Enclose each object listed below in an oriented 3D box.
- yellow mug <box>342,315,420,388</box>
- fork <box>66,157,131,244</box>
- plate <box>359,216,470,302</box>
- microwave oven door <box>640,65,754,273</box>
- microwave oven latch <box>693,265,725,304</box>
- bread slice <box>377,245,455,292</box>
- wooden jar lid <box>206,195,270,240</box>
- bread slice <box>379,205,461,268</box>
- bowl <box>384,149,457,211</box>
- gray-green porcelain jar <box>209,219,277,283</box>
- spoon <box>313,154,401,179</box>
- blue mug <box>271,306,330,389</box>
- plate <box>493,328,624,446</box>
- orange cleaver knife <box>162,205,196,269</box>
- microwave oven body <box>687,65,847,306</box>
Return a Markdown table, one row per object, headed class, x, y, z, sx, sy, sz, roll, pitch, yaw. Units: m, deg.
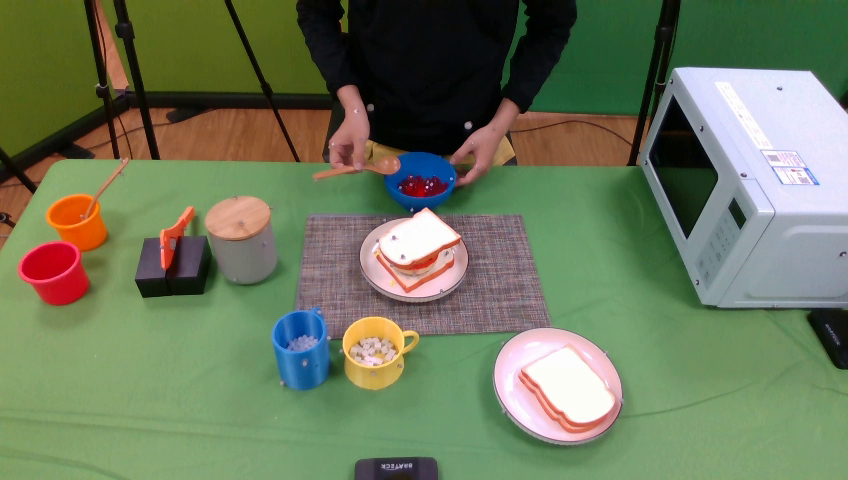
| class | x | y | z | sx | sy | sz | roll | pitch | yaw |
| --- | --- | --- | --- | --- | --- | --- | --- | --- | --- |
| yellow mug | -0.068 | 0.177 | 0.990 | 0.131 | 0.064 | 0.099 | -16 | 50 | -19 |
| fork | -0.608 | -0.074 | 1.132 | 0.207 | 0.019 | 0.028 | -52 | 48 | 10 |
| plate | -0.019 | 0.038 | 1.140 | 0.209 | 0.038 | 0.208 | 2 | 46 | -2 |
| microwave oven door | 0.523 | -0.147 | 1.193 | 0.039 | 0.245 | 0.353 | 0 | 47 | -3 |
| microwave oven latch | 0.523 | 0.081 | 1.116 | 0.030 | 0.029 | 0.078 | 2 | 46 | -1 |
| bread slice | -0.010 | 0.033 | 1.149 | 0.131 | 0.019 | 0.104 | -28 | 55 | -24 |
| wooden jar lid | -0.319 | -0.036 | 1.046 | 0.108 | 0.021 | 0.107 | 1 | 44 | 0 |
| bread slice | -0.013 | -0.002 | 1.097 | 0.134 | 0.018 | 0.106 | -34 | 50 | -22 |
| bowl | -0.009 | -0.112 | 1.262 | 0.151 | 0.077 | 0.150 | 2 | 46 | -2 |
| gray-green porcelain jar | -0.323 | 0.007 | 1.092 | 0.106 | 0.127 | 0.105 | 2 | 46 | -2 |
| spoon | -0.126 | -0.140 | 1.171 | 0.194 | 0.021 | 0.041 | -13 | 77 | -38 |
| blue mug | -0.188 | 0.163 | 0.969 | 0.082 | 0.106 | 0.116 | 15 | 47 | 10 |
| plate | 0.213 | 0.236 | 0.974 | 0.208 | 0.039 | 0.206 | 2 | 46 | -2 |
| orange cleaver knife | -0.454 | -0.010 | 1.129 | 0.012 | 0.077 | 0.210 | -1 | 20 | -5 |
| microwave oven body | 0.669 | -0.111 | 1.176 | 0.326 | 0.261 | 0.439 | 0 | 46 | -3 |
